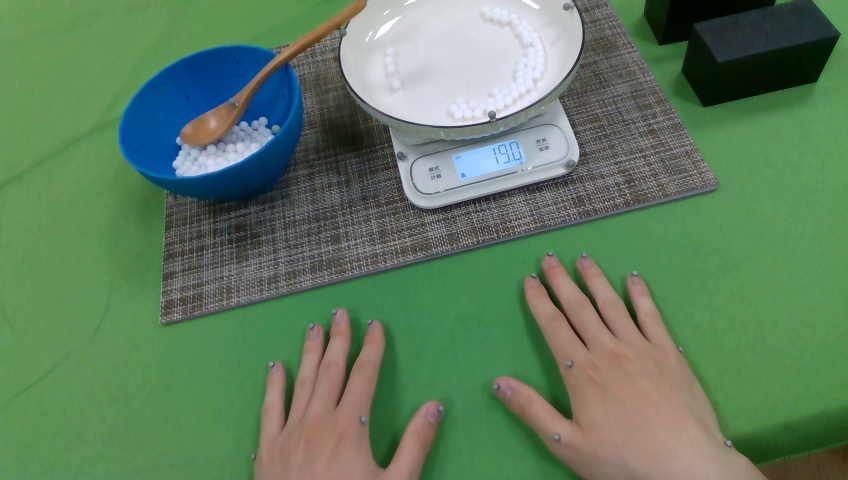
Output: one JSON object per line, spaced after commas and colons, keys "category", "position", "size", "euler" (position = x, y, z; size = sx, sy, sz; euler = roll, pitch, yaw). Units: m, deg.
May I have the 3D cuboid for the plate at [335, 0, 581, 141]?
{"category": "plate", "position": [0.028, -0.161, 0.523], "size": [0.209, 0.038, 0.207], "euler": [-4, 57, 6]}

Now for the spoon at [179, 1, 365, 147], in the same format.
{"category": "spoon", "position": [-0.128, -0.138, 0.505], "size": [0.194, 0.022, 0.041], "euler": [-36, 48, 12]}

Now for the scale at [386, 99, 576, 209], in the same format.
{"category": "scale", "position": [0.037, -0.124, 0.538], "size": [0.149, 0.032, 0.199], "euler": [-14, 57, 0]}

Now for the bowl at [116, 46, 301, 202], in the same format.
{"category": "bowl", "position": [-0.169, -0.085, 0.518], "size": [0.151, 0.077, 0.150], "euler": [-4, 57, 7]}
